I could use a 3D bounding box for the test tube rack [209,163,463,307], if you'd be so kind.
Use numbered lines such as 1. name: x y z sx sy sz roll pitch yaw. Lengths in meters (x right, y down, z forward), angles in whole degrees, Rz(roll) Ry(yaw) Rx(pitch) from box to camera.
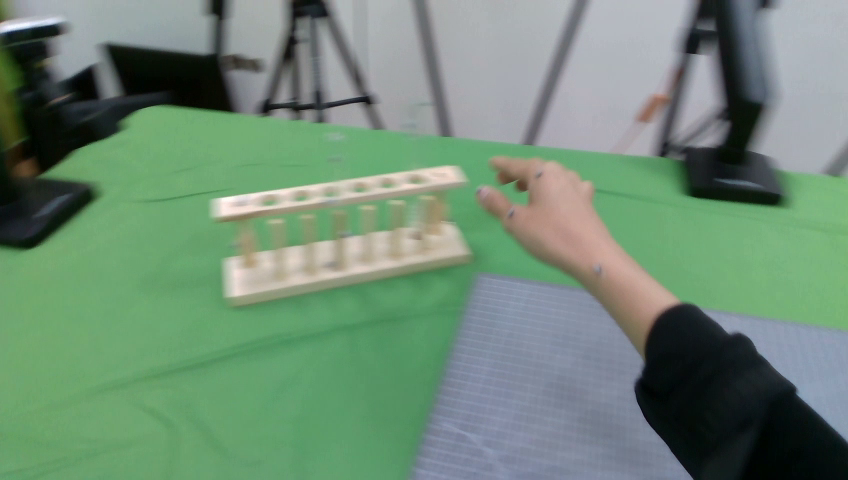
1. test tube rack: -0.083 -0.009 0.616 0.243 0.086 0.066 -11 38 -15

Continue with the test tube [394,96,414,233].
1. test tube: -0.019 -0.073 0.621 0.017 0.151 0.017 -1 33 1

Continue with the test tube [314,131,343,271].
1. test tube: -0.089 -0.033 0.574 0.017 0.152 0.017 0 35 0
